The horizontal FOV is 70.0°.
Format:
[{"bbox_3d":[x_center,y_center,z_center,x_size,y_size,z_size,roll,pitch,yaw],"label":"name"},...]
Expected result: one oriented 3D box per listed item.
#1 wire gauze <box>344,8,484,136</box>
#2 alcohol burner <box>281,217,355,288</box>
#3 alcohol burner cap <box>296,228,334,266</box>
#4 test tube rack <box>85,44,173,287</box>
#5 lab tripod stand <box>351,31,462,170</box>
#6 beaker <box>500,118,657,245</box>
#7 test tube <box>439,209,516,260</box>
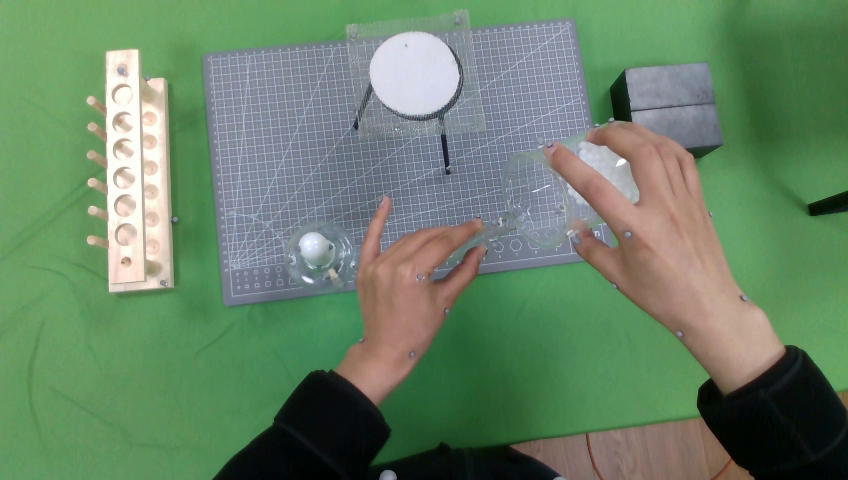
[{"bbox_3d":[-0.010,-0.161,0.586,0.125,0.011,0.121,-6,83,-4],"label":"wire gauze"},{"bbox_3d":[-0.112,0.010,0.632,0.078,0.119,0.077,1,81,-4],"label":"alcohol burner"},{"bbox_3d":[-0.109,0.006,0.597,0.034,0.048,0.033,0,76,2],"label":"alcohol burner cap"},{"bbox_3d":[-0.321,-0.075,0.649,0.067,0.085,0.241,-5,82,-4],"label":"test tube rack"},{"bbox_3d":[-0.010,-0.156,0.652,0.148,0.132,0.148,0,80,-2],"label":"lab tripod stand"},{"bbox_3d":[0.117,-0.046,0.461,0.100,0.084,0.073,-22,79,-24],"label":"beaker"},{"bbox_3d":[0.044,-0.002,0.545,0.017,0.150,0.017,4,77,-17],"label":"test tube"}]
